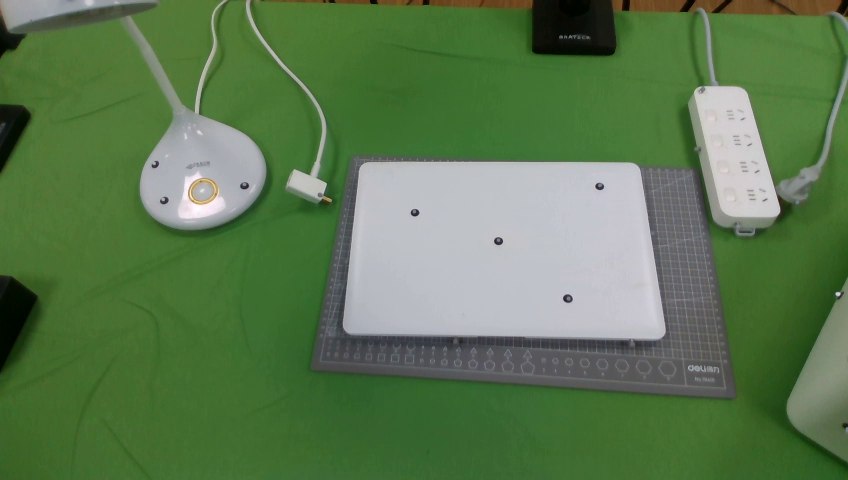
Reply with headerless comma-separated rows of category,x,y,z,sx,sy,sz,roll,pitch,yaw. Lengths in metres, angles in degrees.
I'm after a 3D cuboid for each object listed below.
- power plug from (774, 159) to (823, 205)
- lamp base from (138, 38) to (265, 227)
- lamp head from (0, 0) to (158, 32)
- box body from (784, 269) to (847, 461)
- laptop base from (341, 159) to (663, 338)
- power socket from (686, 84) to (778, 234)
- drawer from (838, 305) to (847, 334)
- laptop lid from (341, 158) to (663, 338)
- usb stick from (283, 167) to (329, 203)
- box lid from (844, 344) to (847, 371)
power plug,0.456,-0.066,0.734,0.073,0.053,0.035,-12,55,-24
lamp base,-0.296,-0.134,0.723,0.161,0.182,0.177,-22,59,-10
lamp head,-0.277,-0.227,0.456,0.112,0.112,0.123,-13,105,4
box body,0.548,0.084,0.573,0.252,0.162,0.363,33,67,19
laptop base,0.087,0.005,0.720,0.354,0.023,0.233,0,64,3
power socket,0.385,-0.112,0.767,0.072,0.033,0.225,2,60,3
drawer,0.575,0.051,0.618,0.193,0.074,0.211,31,72,22
laptop lid,0.086,0.001,0.709,0.356,0.013,0.239,2,63,4
usb stick,-0.144,-0.066,0.758,0.059,0.021,0.027,27,65,-20
box lid,0.546,0.045,0.509,0.261,0.015,0.370,33,67,20
